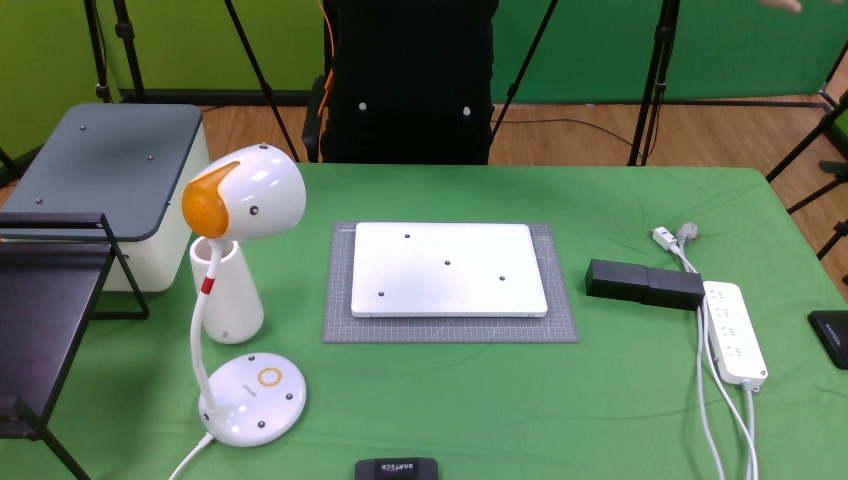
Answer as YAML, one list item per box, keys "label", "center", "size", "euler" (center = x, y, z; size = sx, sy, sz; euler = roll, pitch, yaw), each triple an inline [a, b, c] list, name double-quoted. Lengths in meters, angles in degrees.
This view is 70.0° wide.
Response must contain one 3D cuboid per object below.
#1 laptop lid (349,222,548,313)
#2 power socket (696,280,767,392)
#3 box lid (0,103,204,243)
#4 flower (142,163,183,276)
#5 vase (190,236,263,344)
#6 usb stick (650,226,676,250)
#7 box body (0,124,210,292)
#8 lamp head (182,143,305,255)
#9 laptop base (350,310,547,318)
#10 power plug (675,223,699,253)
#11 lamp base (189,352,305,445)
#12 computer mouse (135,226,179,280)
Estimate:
- label: "laptop lid"
  center: [0.042, 0.046, 1.142]
  size: [0.357, 0.013, 0.240]
  euler: [2, 44, -3]
- label: "power socket"
  center: [0.543, 0.160, 1.077]
  size: [0.072, 0.033, 0.225]
  euler: [6, 46, 2]
- label: "box lid"
  center: [-0.563, -0.132, 1.079]
  size: [0.263, 0.015, 0.369]
  euler: [1, 46, -3]
- label: "flower"
  center: [-0.493, -0.056, 1.172]
  size: [0.038, 0.044, 0.359]
  euler: [36, 23, -32]
- label: "vase"
  center: [-0.317, 0.081, 0.971]
  size: [0.098, 0.201, 0.097]
  euler: [3, 47, -3]
- label: "usb stick"
  center: [0.486, -0.008, 1.238]
  size: [0.021, 0.027, 0.059]
  euler: [-22, 43, -13]
- label: "box body"
  center: [-0.567, -0.082, 1.133]
  size: [0.254, 0.161, 0.361]
  euler: [2, 46, -3]
- label: "lamp head"
  center: [-0.216, -0.044, 0.697]
  size: [0.112, 0.113, 0.123]
  euler: [23, 31, 17]
- label: "laptop base"
  center: [0.041, 0.056, 1.149]
  size: [0.355, 0.023, 0.234]
  euler: [0, 43, -4]
- label: "power plug"
  center: [0.538, 0.000, 1.243]
  size: [0.053, 0.035, 0.072]
  euler: [18, 82, -16]
- label: "lamp base"
  center: [-0.268, 0.197, 0.876]
  size: [0.160, 0.181, 0.179]
  euler: [25, 52, 20]
- label: "computer mouse"
  center: [-0.493, 0.020, 1.118]
  size: [0.063, 0.041, 0.116]
  euler: [1, 53, -10]
